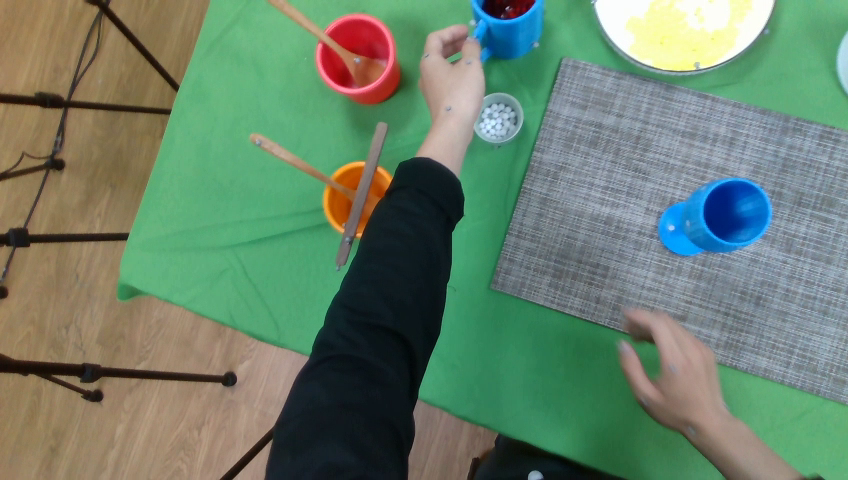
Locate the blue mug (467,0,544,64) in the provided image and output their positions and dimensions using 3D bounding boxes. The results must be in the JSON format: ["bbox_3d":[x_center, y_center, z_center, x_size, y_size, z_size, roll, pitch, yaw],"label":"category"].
[{"bbox_3d":[0.090,-0.261,0.716,0.082,0.106,0.116,38,93,10],"label":"blue mug"}]

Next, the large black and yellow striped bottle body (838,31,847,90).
[{"bbox_3d":[0.528,-0.213,0.607,0.130,0.184,0.130,-1,86,9],"label":"large black and yellow striped bottle body"}]

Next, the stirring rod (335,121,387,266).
[{"bbox_3d":[-0.074,-0.054,0.705,0.014,0.006,0.176,17,90,9],"label":"stirring rod"}]

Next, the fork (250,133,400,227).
[{"bbox_3d":[-0.112,-0.070,0.715,0.209,0.018,0.028,30,99,-34],"label":"fork"}]

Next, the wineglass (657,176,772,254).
[{"bbox_3d":[0.296,-0.021,0.634,0.073,0.173,0.073,-1,86,9],"label":"wineglass"}]

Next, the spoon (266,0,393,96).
[{"bbox_3d":[-0.115,-0.239,0.726,0.196,0.021,0.041,33,94,-34],"label":"spoon"}]

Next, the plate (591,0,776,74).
[{"bbox_3d":[0.303,-0.296,0.720,0.209,0.038,0.209,0,88,9],"label":"plate"}]

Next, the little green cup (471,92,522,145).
[{"bbox_3d":[0.090,-0.147,0.744,0.061,0.039,0.061,-1,87,10],"label":"little green cup"}]
